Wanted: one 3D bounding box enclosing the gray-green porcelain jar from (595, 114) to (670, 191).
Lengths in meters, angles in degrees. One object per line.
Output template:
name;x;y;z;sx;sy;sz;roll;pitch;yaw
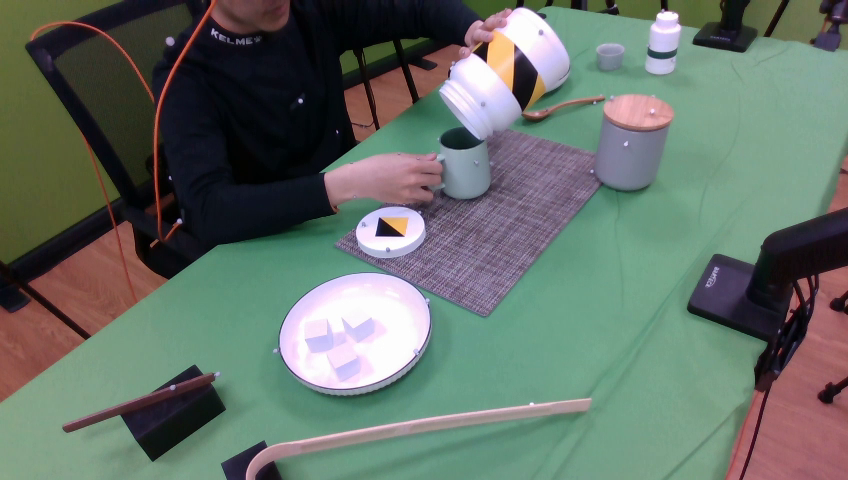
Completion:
gray-green porcelain jar;0.346;-0.155;1.017;0.106;0.127;0.105;-2;44;2

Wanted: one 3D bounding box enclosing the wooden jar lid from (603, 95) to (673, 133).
wooden jar lid;0.343;-0.200;0.974;0.108;0.021;0.108;-2;39;2

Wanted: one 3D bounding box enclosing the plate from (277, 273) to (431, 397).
plate;-0.091;0.129;0.821;0.207;0.039;0.206;-4;40;4

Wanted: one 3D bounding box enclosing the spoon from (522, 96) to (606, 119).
spoon;0.291;-0.277;1.249;0.194;0.022;0.041;-18;24;-11

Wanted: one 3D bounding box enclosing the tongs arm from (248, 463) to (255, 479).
tongs arm;0.012;0.262;0.615;0.385;0.026;0.050;2;42;-2

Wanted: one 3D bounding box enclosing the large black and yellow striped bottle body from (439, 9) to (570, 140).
large black and yellow striped bottle body;0.127;-0.262;0.977;0.184;0.132;0.129;-42;44;4

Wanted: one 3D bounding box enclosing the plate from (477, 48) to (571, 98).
plate;0.223;-0.371;1.357;0.209;0.038;0.208;-4;41;4

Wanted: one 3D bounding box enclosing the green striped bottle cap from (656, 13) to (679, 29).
green striped bottle cap;0.515;-0.463;1.278;0.044;0.020;0.044;-6;42;6

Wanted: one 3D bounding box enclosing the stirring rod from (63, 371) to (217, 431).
stirring rod;-0.337;0.192;0.723;0.177;0.014;0.005;-18;42;-12

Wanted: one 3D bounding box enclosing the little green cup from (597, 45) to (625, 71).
little green cup;0.423;-0.413;1.375;0.061;0.039;0.061;-3;41;3

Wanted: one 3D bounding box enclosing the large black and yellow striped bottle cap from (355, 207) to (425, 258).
large black and yellow striped bottle cap;-0.056;-0.014;0.993;0.115;0.019;0.114;-3;40;3

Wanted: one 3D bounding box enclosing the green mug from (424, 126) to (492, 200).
green mug;0.055;-0.125;1.039;0.126;0.105;0.091;-26;44;-20

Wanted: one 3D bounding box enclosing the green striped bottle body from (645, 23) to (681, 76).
green striped bottle body;0.520;-0.424;1.312;0.063;0.120;0.063;-4;41;4

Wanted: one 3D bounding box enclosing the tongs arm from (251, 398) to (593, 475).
tongs arm;0.008;0.212;0.675;0.389;0.028;0.028;-5;46;-11
